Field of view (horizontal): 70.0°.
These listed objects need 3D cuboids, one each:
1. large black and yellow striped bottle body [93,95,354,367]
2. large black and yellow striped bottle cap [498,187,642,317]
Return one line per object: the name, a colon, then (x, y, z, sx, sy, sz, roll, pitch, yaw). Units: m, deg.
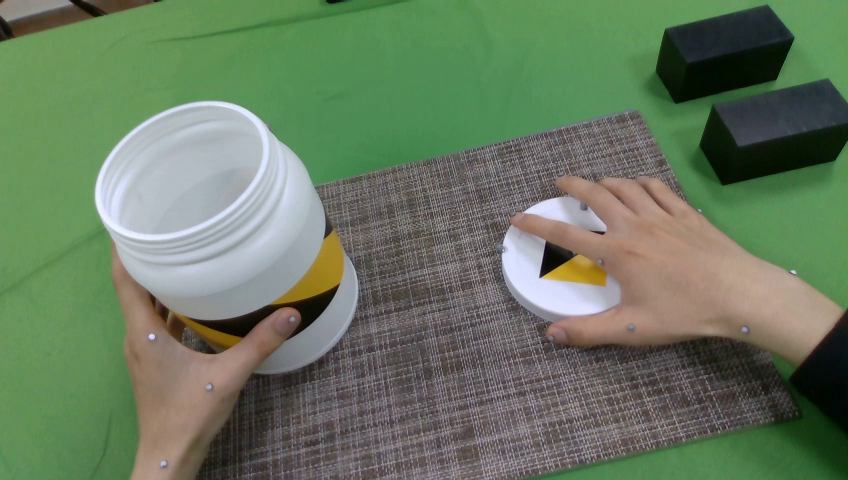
large black and yellow striped bottle body: (-0.133, 0.000, 0.436, 0.130, 0.186, 0.129, -4, 57, 7)
large black and yellow striped bottle cap: (0.118, 0.007, 0.493, 0.115, 0.019, 0.114, -4, 59, 7)
